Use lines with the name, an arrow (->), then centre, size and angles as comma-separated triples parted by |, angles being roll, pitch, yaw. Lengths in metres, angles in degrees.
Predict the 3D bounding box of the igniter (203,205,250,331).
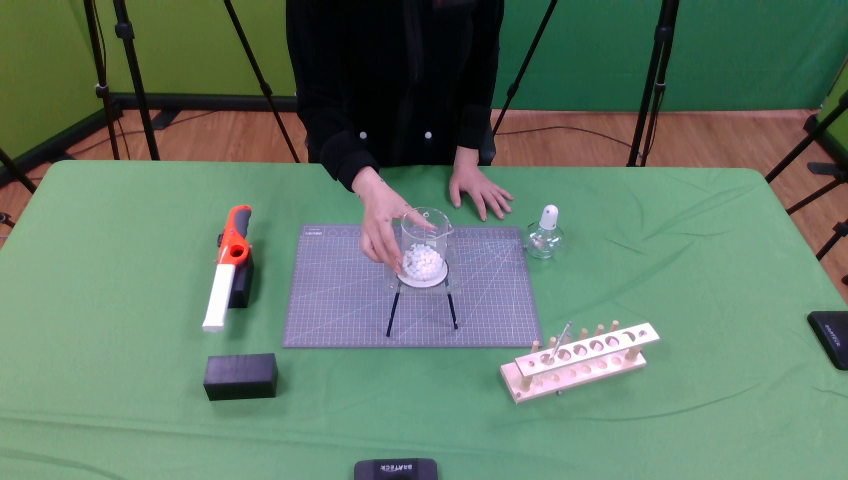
igniter -> -0.345, 0.039, 1.065 | 0.057, 0.025, 0.274 | 2, 49, -6

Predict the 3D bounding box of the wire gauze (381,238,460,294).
wire gauze -> -0.007, 0.042, 0.985 | 0.125, 0.011, 0.120 | -1, 43, -2

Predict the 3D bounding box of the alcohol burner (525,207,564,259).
alcohol burner -> 0.236, -0.020, 1.174 | 0.078, 0.120, 0.077 | 1, 48, -1

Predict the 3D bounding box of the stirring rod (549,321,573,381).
stirring rod -> 0.202, 0.167, 0.901 | 0.006, 0.177, 0.014 | -18, 55, -11

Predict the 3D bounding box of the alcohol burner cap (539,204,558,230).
alcohol burner cap -> 0.239, -0.045, 1.148 | 0.034, 0.048, 0.033 | 2, 42, -1

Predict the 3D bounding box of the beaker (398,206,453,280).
beaker -> 0.000, 0.008, 0.950 | 0.084, 0.101, 0.073 | 11, 46, 5

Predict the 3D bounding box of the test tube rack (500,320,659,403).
test tube rack -> 0.252, 0.187, 0.994 | 0.243, 0.085, 0.066 | -12, 48, -15

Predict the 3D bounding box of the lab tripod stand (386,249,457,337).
lab tripod stand -> -0.010, 0.087, 1.032 | 0.148, 0.132, 0.147 | 1, 45, -1
